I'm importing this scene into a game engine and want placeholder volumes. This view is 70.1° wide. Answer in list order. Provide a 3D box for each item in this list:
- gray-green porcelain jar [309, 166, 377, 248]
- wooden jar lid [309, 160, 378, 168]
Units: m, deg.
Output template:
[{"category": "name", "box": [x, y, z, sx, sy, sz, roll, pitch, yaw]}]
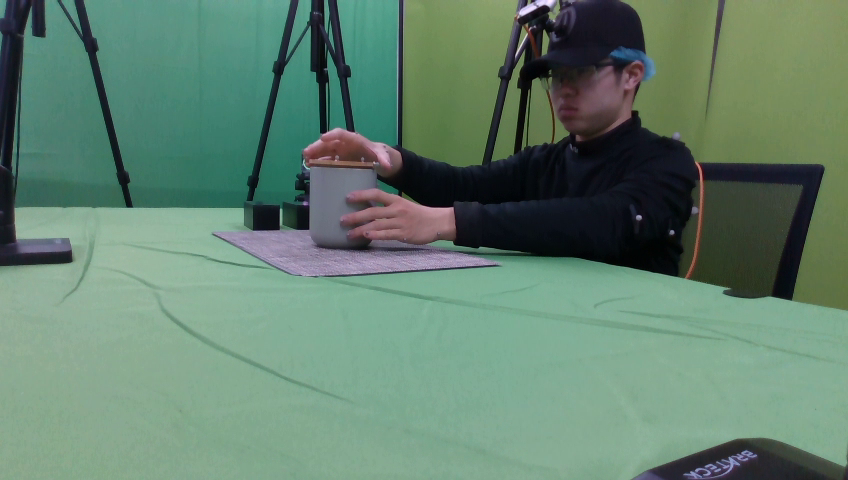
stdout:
[{"category": "gray-green porcelain jar", "box": [-0.130, -0.054, 0.965, 0.106, 0.126, 0.106, 2, 7, 0]}, {"category": "wooden jar lid", "box": [-0.128, -0.117, 0.957, 0.108, 0.020, 0.108, 3, 7, 0]}]
